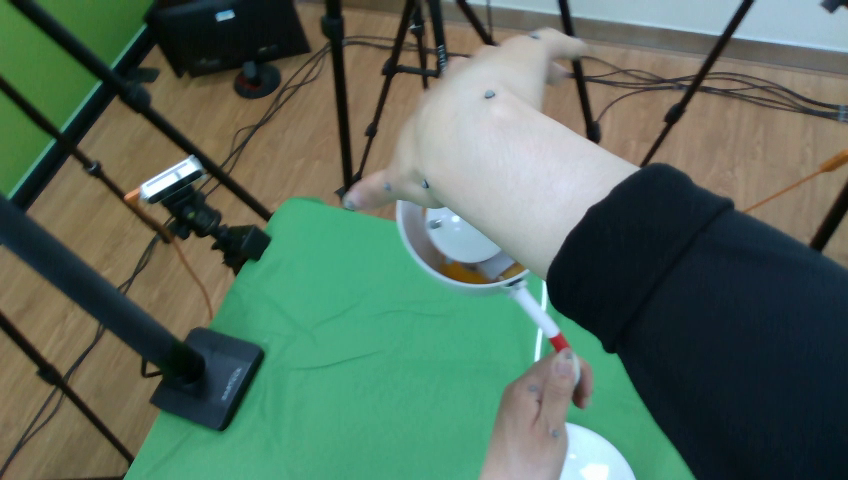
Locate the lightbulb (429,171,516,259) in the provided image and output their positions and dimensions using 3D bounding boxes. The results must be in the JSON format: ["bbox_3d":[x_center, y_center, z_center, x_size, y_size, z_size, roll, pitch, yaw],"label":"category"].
[{"bbox_3d":[0.036,-0.012,0.438,0.059,0.108,0.059,-1,77,7],"label":"lightbulb"}]

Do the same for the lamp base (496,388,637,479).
[{"bbox_3d":[0.148,0.236,0.630,0.161,0.182,0.177,-21,56,-5],"label":"lamp base"}]

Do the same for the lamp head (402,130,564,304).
[{"bbox_3d":[0.046,-0.004,0.460,0.112,0.124,0.111,-3,68,7],"label":"lamp head"}]
